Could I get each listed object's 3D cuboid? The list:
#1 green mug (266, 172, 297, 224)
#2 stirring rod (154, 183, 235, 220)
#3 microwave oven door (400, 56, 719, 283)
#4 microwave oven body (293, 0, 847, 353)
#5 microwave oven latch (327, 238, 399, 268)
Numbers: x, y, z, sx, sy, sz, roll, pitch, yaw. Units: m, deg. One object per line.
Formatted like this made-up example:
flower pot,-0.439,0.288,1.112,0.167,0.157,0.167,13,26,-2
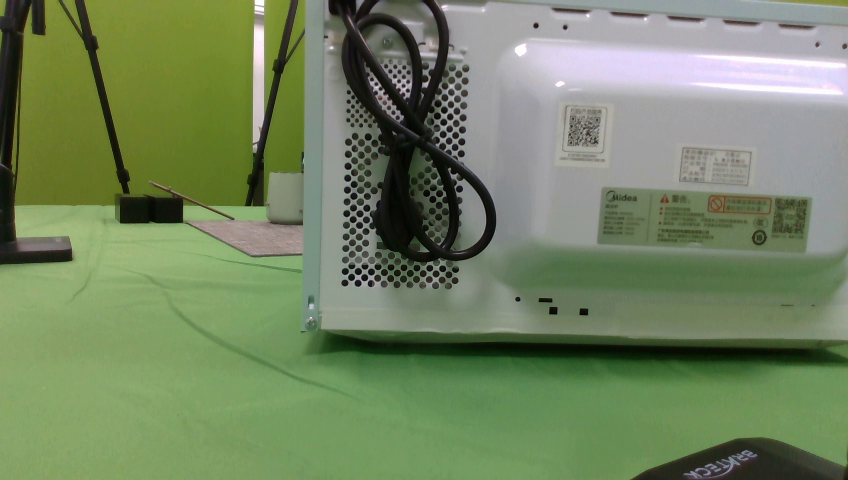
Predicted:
green mug,-0.272,-0.089,1.270,0.092,0.105,0.126,7,8,33
stirring rod,-0.472,-0.079,1.252,0.177,0.006,0.014,27,3,-35
microwave oven door,0.155,-0.077,0.698,0.356,0.243,0.039,2,8,-5
microwave oven body,0.122,-0.055,0.550,0.442,0.260,0.325,3,7,-5
microwave oven latch,-0.069,0.015,0.694,0.079,0.029,0.030,3,7,-3
